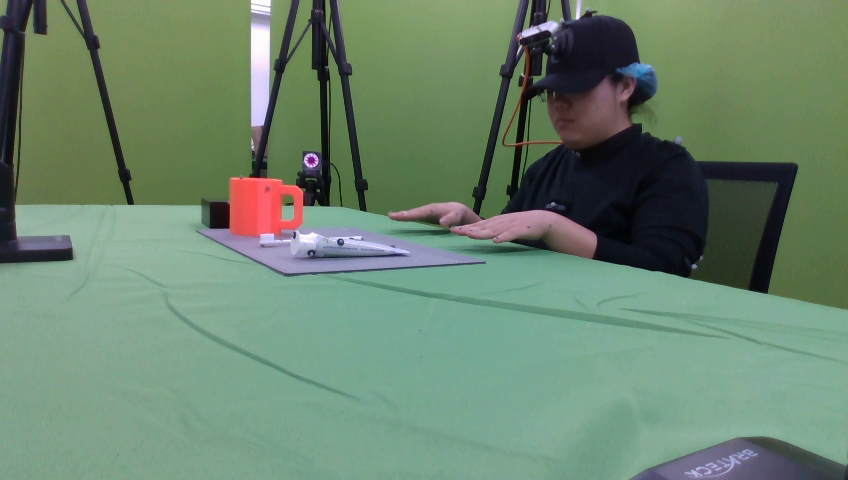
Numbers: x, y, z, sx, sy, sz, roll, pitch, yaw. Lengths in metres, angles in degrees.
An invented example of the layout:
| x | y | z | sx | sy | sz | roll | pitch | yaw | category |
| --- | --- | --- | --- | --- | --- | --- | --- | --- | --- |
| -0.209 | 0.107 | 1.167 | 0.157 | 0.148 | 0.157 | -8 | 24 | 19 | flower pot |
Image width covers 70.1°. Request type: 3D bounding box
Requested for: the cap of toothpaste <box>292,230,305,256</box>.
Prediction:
| x | y | z | sx | sy | sz | roll | pitch | yaw | category |
| --- | --- | --- | --- | --- | --- | --- | --- | --- | --- |
| -0.169 | 0.005 | 0.812 | 0.011 | 0.037 | 0.037 | 6 | 4 | -30 | cap of toothpaste |

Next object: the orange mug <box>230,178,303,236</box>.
| x | y | z | sx | sy | sz | roll | pitch | yaw | category |
| --- | --- | --- | --- | --- | --- | --- | --- | --- | --- |
| -0.275 | -0.060 | 1.058 | 0.126 | 0.101 | 0.083 | -2 | 8 | -5 | orange mug |

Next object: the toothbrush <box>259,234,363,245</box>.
| x | y | z | sx | sy | sz | roll | pitch | yaw | category |
| --- | --- | --- | --- | --- | --- | --- | --- | --- | --- |
| -0.175 | -0.002 | 0.958 | 0.183 | 0.016 | 0.014 | -1 | -4 | -39 | toothbrush |

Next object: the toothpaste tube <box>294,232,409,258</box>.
| x | y | z | sx | sy | sz | roll | pitch | yaw | category |
| --- | --- | --- | --- | --- | --- | --- | --- | --- | --- |
| -0.103 | 0.010 | 0.853 | 0.166 | 0.034 | 0.055 | 3 | 11 | -34 | toothpaste tube |
